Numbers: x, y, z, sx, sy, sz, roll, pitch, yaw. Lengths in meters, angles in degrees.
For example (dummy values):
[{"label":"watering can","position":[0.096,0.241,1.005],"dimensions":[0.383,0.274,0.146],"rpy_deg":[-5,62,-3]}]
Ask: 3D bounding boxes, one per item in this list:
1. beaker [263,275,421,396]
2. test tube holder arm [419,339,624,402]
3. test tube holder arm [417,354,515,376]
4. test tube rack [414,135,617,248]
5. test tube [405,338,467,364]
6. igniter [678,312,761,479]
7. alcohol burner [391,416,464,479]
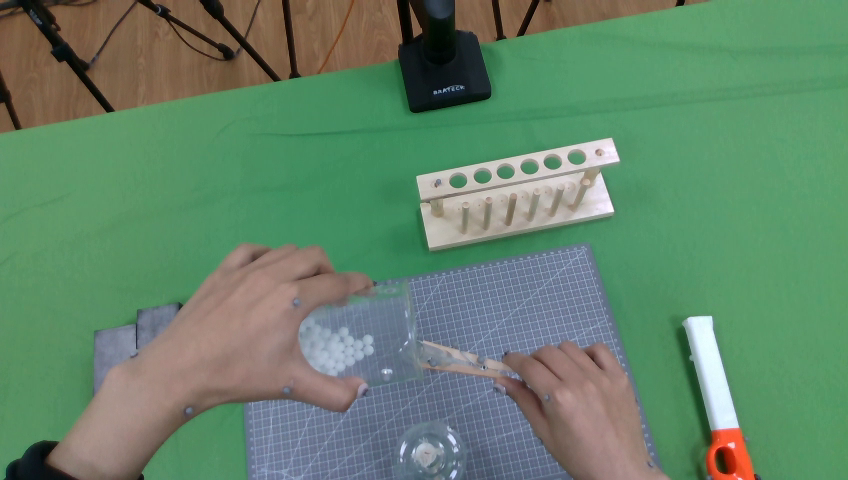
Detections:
[{"label":"beaker","position":[-0.057,0.071,0.435],"dimensions":[0.100,0.085,0.073],"rpy_deg":[-9,57,-1]},{"label":"test tube holder arm","position":[0.081,0.111,0.523],"dimensions":[0.178,0.015,0.013],"rpy_deg":[11,83,16]},{"label":"test tube holder arm","position":[0.037,0.110,0.534],"dimensions":[0.087,0.015,0.010],"rpy_deg":[4,81,15]},{"label":"test tube rack","position":[0.114,-0.058,0.757],"dimensions":[0.242,0.086,0.066],"rpy_deg":[-11,67,-1]},{"label":"test tube","position":[0.014,0.103,0.538],"dimensions":[0.017,0.151,0.017],"rpy_deg":[-5,74,17]},{"label":"igniter","position":[0.326,0.213,0.662],"dimensions":[0.057,0.025,0.274],"rpy_deg":[-1,67,-8]},{"label":"alcohol burner","position":[0.003,0.219,0.627],"dimensions":[0.078,0.120,0.077],"rpy_deg":[-1,65,2]}]
